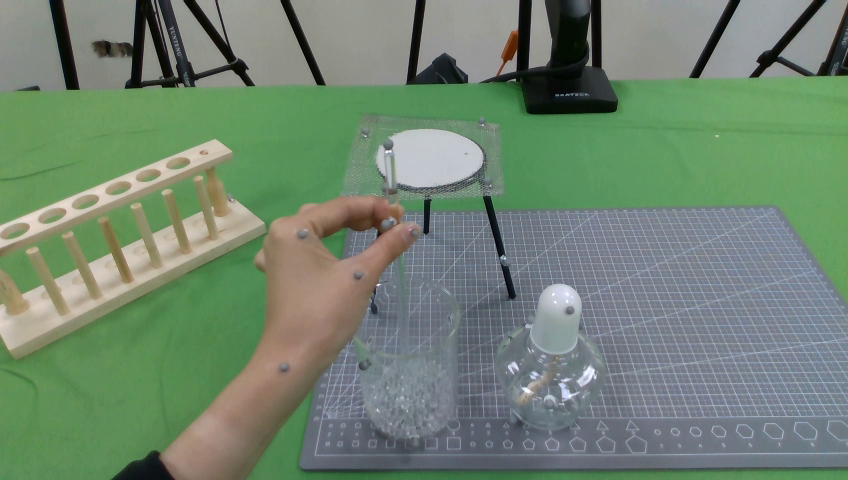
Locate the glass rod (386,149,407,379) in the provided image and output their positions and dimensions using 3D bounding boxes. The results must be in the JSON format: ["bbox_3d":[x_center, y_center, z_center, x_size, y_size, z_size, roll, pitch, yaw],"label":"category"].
[{"bbox_3d":[-0.018,0.028,0.410,0.008,0.201,0.008,0,38,1],"label":"glass rod"}]

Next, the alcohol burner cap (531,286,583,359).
[{"bbox_3d":[0.089,0.051,0.398,0.034,0.048,0.033,1,41,0],"label":"alcohol burner cap"}]

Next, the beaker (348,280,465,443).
[{"bbox_3d":[-0.012,0.087,0.427,0.074,0.101,0.083,-33,47,-32],"label":"beaker"}]

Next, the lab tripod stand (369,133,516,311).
[{"bbox_3d":[0.012,-0.014,0.523,0.148,0.132,0.147,0,38,0],"label":"lab tripod stand"}]

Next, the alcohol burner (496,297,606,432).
[{"bbox_3d":[0.089,0.079,0.421,0.078,0.120,0.077,-1,42,1],"label":"alcohol burner"}]

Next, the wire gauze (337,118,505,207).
[{"bbox_3d":[0.001,-0.064,0.479,0.121,0.011,0.124,2,40,3],"label":"wire gauze"}]

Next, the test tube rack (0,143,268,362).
[{"bbox_3d":[-0.274,0.002,0.560,0.242,0.086,0.066,-31,47,-31],"label":"test tube rack"}]
